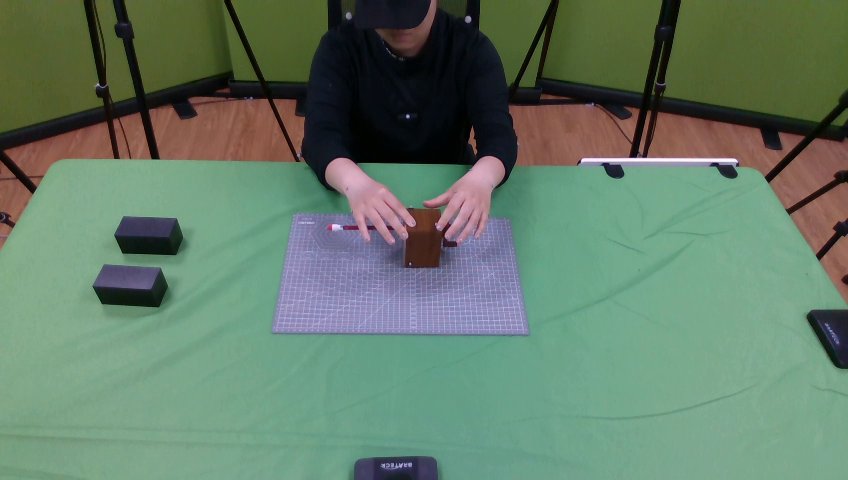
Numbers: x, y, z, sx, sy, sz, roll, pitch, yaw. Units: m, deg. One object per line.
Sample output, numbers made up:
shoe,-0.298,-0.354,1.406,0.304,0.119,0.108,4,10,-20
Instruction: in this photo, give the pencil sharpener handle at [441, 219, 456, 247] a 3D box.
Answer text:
pencil sharpener handle,0.048,-0.012,1.133,0.031,0.068,0.036,0,48,-5

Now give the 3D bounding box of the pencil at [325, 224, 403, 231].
pencil,-0.083,-0.021,1.109,0.194,0.012,0.012,1,45,-5

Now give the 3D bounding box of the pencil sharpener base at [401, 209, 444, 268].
pencil sharpener base,-0.004,-0.002,1.136,0.077,0.107,0.061,0,46,-5
